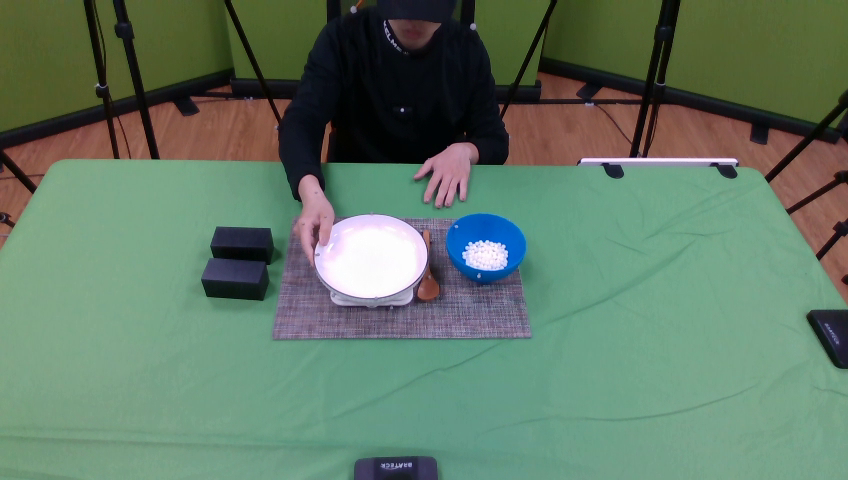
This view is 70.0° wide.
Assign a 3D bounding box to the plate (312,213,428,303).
[{"bbox_3d":[-0.097,0.035,1.100,0.209,0.038,0.208,2,46,-2],"label":"plate"}]

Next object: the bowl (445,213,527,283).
[{"bbox_3d":[0.112,0.027,1.136,0.151,0.077,0.150,2,46,-2],"label":"bowl"}]

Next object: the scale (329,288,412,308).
[{"bbox_3d":[-0.098,0.042,1.139,0.149,0.032,0.199,0,46,-4],"label":"scale"}]

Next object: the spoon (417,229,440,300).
[{"bbox_3d":[0.006,0.043,1.152,0.041,0.022,0.192,-8,45,6],"label":"spoon"}]
